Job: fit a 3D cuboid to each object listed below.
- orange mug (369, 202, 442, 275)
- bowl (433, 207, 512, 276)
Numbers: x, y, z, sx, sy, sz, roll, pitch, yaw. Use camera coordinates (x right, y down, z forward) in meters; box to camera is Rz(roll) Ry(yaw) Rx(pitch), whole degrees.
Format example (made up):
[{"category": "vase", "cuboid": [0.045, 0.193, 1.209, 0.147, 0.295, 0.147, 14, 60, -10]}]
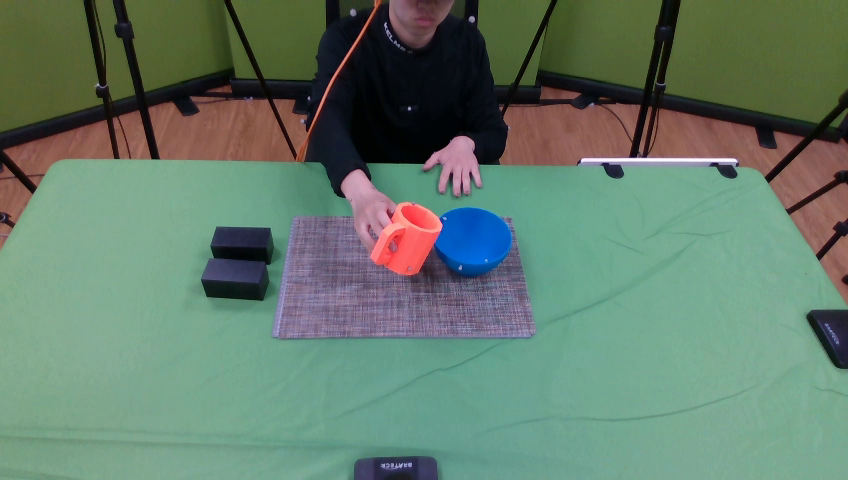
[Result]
[{"category": "orange mug", "cuboid": [-0.038, -0.001, 1.031, 0.083, 0.101, 0.126, 41, 26, 22]}, {"category": "bowl", "cuboid": [0.086, 0.016, 1.147, 0.151, 0.077, 0.150, 2, 46, -2]}]
